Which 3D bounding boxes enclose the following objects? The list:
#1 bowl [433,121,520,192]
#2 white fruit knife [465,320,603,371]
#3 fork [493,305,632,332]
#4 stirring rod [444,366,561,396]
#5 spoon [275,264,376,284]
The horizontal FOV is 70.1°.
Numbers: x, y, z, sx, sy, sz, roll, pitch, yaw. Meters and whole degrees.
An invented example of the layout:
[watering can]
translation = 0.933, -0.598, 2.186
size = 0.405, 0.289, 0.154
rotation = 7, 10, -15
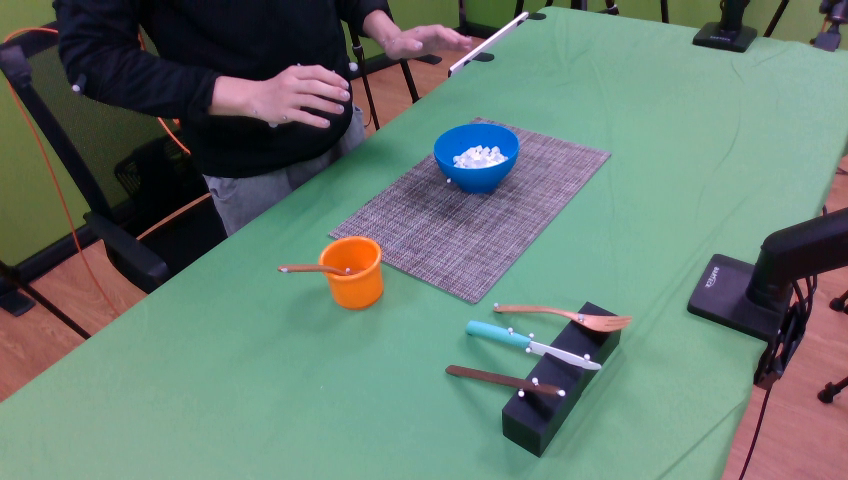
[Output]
[bowl]
translation = 0.094, -0.137, 1.064
size = 0.151, 0.077, 0.150
rotation = -4, 41, 4
[white fruit knife]
translation = 0.128, 0.129, 0.749
size = 0.205, 0.027, 0.016
rotation = 11, 45, 44
[fork]
translation = 0.171, 0.097, 0.783
size = 0.205, 0.019, 0.028
rotation = 4, 41, 43
[stirring rod]
translation = 0.088, 0.166, 0.718
size = 0.175, 0.006, 0.014
rotation = -1, 25, 48
[spoon]
translation = -0.133, 0.044, 0.839
size = 0.041, 0.195, 0.021
rotation = 25, 95, 33
